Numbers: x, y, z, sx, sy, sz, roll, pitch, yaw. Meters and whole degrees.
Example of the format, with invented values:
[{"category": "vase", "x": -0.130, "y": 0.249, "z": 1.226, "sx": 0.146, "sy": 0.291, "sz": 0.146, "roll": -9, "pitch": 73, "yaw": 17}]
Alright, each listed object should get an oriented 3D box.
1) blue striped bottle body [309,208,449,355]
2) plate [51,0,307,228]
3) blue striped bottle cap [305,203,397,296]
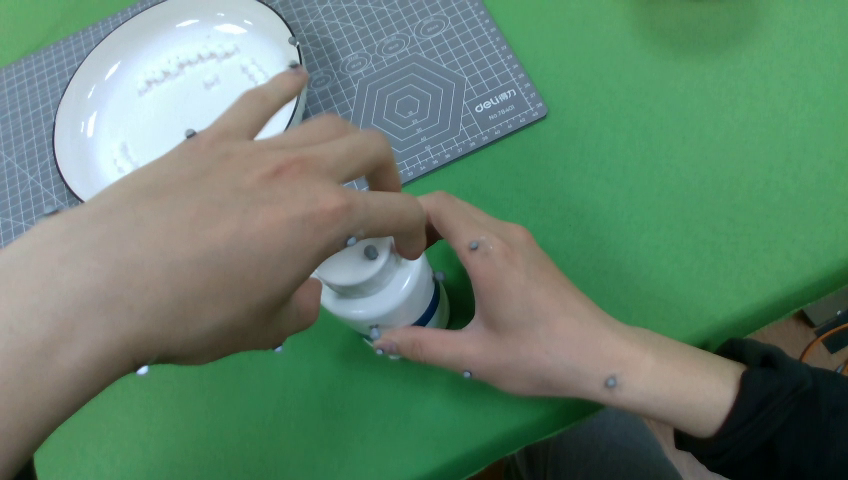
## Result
[{"category": "blue striped bottle body", "x": -0.025, "y": 0.024, "z": 0.351, "sx": 0.063, "sy": 0.122, "sz": 0.062, "roll": -4, "pitch": 67, "yaw": 10}, {"category": "plate", "x": -0.187, "y": -0.101, "z": 0.478, "sx": 0.207, "sy": 0.039, "sz": 0.206, "roll": -4, "pitch": 68, "yaw": 10}, {"category": "blue striped bottle cap", "x": -0.036, "y": 0.004, "z": 0.305, "sx": 0.044, "sy": 0.021, "sz": 0.044, "roll": -3, "pitch": 69, "yaw": 9}]
